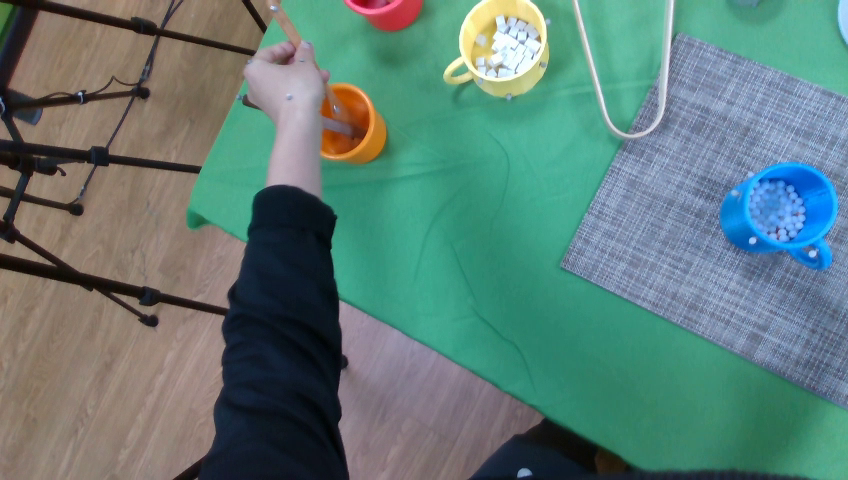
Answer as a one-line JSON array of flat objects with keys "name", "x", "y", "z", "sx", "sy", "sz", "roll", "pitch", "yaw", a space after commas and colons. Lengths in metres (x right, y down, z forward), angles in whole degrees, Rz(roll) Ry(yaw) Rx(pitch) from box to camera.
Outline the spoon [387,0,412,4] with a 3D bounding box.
[{"name": "spoon", "x": -0.096, "y": -0.318, "z": 0.721, "sx": 0.195, "sy": 0.021, "sz": 0.041, "roll": 2, "pitch": 86, "yaw": -31}]

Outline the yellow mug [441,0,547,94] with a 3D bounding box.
[{"name": "yellow mug", "x": 0.079, "y": -0.224, "z": 0.716, "sx": 0.131, "sy": 0.064, "sz": 0.099, "roll": -26, "pitch": 82, "yaw": 13}]

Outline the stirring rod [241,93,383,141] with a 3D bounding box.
[{"name": "stirring rod", "x": -0.129, "y": -0.146, "z": 0.725, "sx": 0.177, "sy": 0.006, "sz": 0.014, "roll": 11, "pitch": 85, "yaw": -27}]

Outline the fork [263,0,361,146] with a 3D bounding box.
[{"name": "fork", "x": -0.124, "y": -0.189, "z": 0.702, "sx": 0.028, "sy": 0.210, "sz": 0.018, "roll": -41, "pitch": 47, "yaw": -8}]

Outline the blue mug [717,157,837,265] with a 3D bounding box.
[{"name": "blue mug", "x": 0.365, "y": -0.022, "z": 0.616, "sx": 0.082, "sy": 0.106, "sz": 0.116, "roll": -38, "pitch": 80, "yaw": 9}]

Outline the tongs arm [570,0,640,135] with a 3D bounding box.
[{"name": "tongs arm", "x": 0.182, "y": -0.305, "z": 0.688, "sx": 0.050, "sy": 0.026, "sz": 0.385, "roll": -12, "pitch": 92, "yaw": 10}]

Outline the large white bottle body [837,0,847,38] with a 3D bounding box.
[{"name": "large white bottle body", "x": 0.487, "y": -0.257, "z": 0.558, "sx": 0.130, "sy": 0.185, "sz": 0.130, "roll": -1, "pitch": 87, "yaw": 14}]

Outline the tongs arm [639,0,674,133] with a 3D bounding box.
[{"name": "tongs arm", "x": 0.264, "y": -0.315, "z": 0.672, "sx": 0.028, "sy": 0.028, "sz": 0.388, "roll": 2, "pitch": 95, "yaw": 5}]
